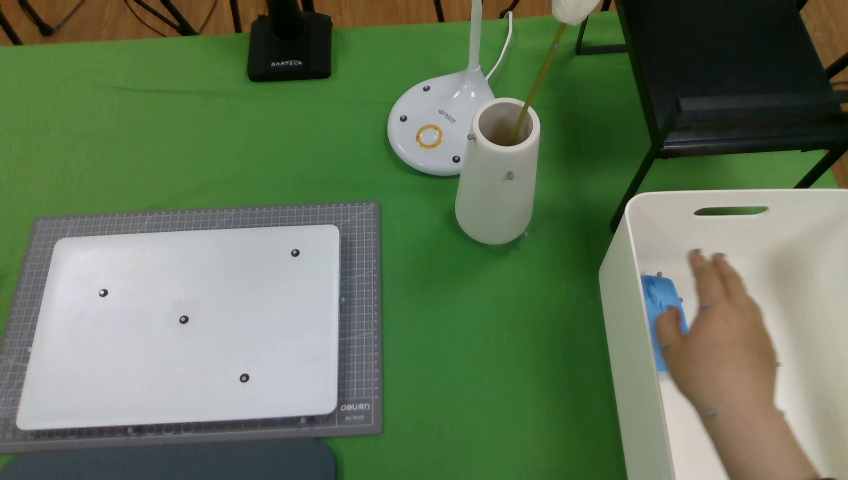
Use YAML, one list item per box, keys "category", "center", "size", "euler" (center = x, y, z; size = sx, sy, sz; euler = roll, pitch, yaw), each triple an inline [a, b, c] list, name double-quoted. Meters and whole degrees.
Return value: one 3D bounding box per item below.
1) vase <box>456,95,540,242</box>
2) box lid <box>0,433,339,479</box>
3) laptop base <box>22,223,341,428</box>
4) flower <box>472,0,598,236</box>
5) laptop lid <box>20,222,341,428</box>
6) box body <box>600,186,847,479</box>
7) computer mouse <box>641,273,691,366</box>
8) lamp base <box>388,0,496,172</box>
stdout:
- category: "vase"
  center: [0.085, -0.077, 0.699]
  size: [0.098, 0.201, 0.097]
  euler: [-1, 63, 3]
- category: "box lid"
  center: [-0.272, 0.338, 0.610]
  size: [0.372, 0.015, 0.261]
  euler: [-3, 64, -1]
- category: "laptop base"
  center: [-0.275, 0.094, 0.721]
  size: [0.354, 0.023, 0.233]
  euler: [-3, 68, -1]
- category: "flower"
  center: [0.099, -0.122, 0.629]
  size: [0.038, 0.364, 0.043]
  euler: [-8, 53, -22]
- category: "laptop lid"
  center: [-0.275, 0.092, 0.710]
  size: [0.357, 0.013, 0.239]
  euler: [-2, 66, 0]
- category: "box body"
  center: [0.333, 0.142, 0.610]
  size: [0.254, 0.161, 0.361]
  euler: [-1, 64, 1]
- category: "computer mouse"
  center: [0.267, 0.088, 0.700]
  size: [0.063, 0.041, 0.116]
  euler: [-2, 58, 3]
- category: "lamp base"
  center: [0.035, -0.206, 0.773]
  size: [0.160, 0.181, 0.178]
  euler: [28, 65, 14]
